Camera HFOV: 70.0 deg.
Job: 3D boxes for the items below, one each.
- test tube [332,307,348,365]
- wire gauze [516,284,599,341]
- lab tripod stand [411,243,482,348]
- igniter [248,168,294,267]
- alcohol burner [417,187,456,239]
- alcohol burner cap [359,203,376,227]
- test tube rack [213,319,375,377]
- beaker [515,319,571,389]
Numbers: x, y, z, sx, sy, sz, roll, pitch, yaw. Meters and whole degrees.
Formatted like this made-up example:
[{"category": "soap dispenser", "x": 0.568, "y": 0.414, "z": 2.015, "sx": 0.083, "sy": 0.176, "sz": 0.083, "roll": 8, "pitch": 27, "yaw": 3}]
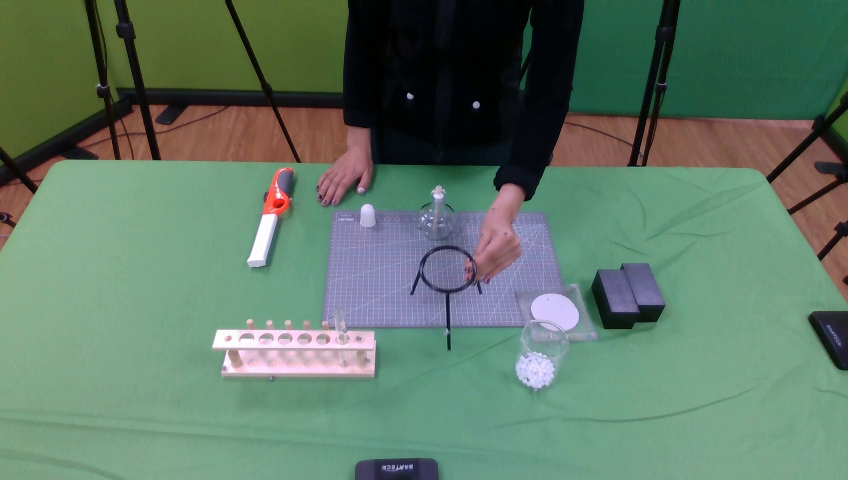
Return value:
[{"category": "test tube", "x": -0.128, "y": 0.151, "z": 0.931, "sx": 0.017, "sy": 0.151, "sz": 0.017, "roll": 1, "pitch": 50, "yaw": -2}, {"category": "wire gauze", "x": 0.240, "y": 0.131, "z": 1.094, "sx": 0.125, "sy": 0.011, "sz": 0.120, "roll": -3, "pitch": 47, "yaw": -8}, {"category": "lab tripod stand", "x": 0.040, "y": 0.082, "z": 0.989, "sx": 0.148, "sy": 0.132, "sz": 0.147, "roll": 0, "pitch": 53, "yaw": 0}, {"category": "igniter", "x": -0.307, "y": -0.055, "z": 1.225, "sx": 0.057, "sy": 0.025, "sz": 0.275, "roll": -3, "pitch": 46, "yaw": 7}, {"category": "alcohol burner", "x": 0.026, "y": -0.059, "z": 1.189, "sx": 0.078, "sy": 0.120, "sz": 0.077, "roll": 1, "pitch": 48, "yaw": -1}, {"category": "alcohol burner cap", "x": -0.114, "y": -0.053, "z": 1.223, "sx": 0.034, "sy": 0.048, "sz": 0.033, "roll": 3, "pitch": 47, "yaw": -3}, {"category": "test tube rack", "x": -0.202, "y": 0.170, "z": 0.977, "sx": 0.242, "sy": 0.085, "sz": 0.066, "roll": 1, "pitch": 46, "yaw": -3}, {"category": "beaker", "x": 0.186, "y": 0.186, "z": 0.979, "sx": 0.074, "sy": 0.101, "sz": 0.083, "roll": -23, "pitch": 51, "yaw": -24}]
